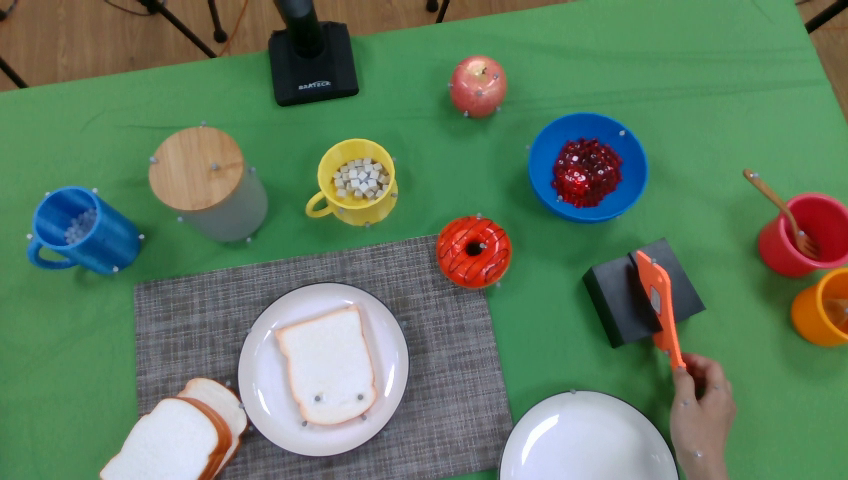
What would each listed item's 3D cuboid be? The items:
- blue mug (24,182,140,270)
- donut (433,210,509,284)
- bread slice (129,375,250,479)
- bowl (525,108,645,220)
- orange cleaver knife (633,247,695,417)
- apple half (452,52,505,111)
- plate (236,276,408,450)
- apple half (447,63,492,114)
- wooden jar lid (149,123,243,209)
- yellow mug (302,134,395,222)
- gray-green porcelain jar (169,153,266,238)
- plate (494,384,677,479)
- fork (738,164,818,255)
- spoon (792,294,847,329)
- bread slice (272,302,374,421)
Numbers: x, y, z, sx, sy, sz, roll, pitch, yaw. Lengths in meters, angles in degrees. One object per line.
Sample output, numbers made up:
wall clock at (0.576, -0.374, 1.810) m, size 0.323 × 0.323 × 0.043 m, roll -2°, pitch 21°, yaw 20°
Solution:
blue mug at (-0.436, -0.006, 0.761) m, size 0.116 × 0.106 × 0.082 m, roll -35°, pitch 75°, yaw -10°
donut at (0.060, 0.009, 0.782) m, size 0.099 × 0.048 × 0.098 m, roll 0°, pitch 73°, yaw 0°
bread slice at (-0.267, 0.231, 0.719) m, size 0.104 × 0.019 × 0.131 m, roll 28°, pitch 76°, yaw 9°
bowl at (0.204, -0.088, 0.797) m, size 0.151 × 0.077 × 0.150 m, roll 0°, pitch 73°, yaw 1°
orange cleaver knife at (0.288, 0.111, 0.732) m, size 0.012 × 0.077 × 0.212 m, roll -18°, pitch 103°, yaw -5°
apple half at (0.082, -0.225, 0.844) m, size 0.053 × 0.075 × 0.080 m, roll -40°, pitch 72°, yaw -17°
plate at (-0.123, 0.148, 0.742) m, size 0.208 × 0.039 × 0.206 m, roll 0°, pitch 73°, yaw 1°
apple half at (0.055, -0.199, 0.834) m, size 0.033 × 0.082 × 0.081 m, roll -41°, pitch 76°, yaw -16°
wooden jar lid at (-0.265, -0.085, 0.709) m, size 0.108 × 0.021 × 0.107 m, roll 0°, pitch 71°, yaw 1°
yellow mug at (-0.103, -0.073, 0.801) m, size 0.131 × 0.064 × 0.099 m, roll -32°, pitch 75°, yaw -9°
gray-green porcelain jar at (-0.264, -0.065, 0.768) m, size 0.106 × 0.127 × 0.105 m, roll 0°, pitch 72°, yaw 1°
plate at (0.184, 0.275, 0.704) m, size 0.209 × 0.038 × 0.208 m, roll 0°, pitch 72°, yaw 1°
fork at (0.438, -0.036, 0.742) m, size 0.209 × 0.018 × 0.028 m, roll 33°, pitch 69°, yaw -33°
spoon at (0.537, 0.060, 0.712) m, size 0.022 × 0.193 × 0.041 m, roll 3°, pitch 63°, yaw -46°
bread slice at (-0.116, 0.151, 0.743) m, size 0.107 × 0.018 × 0.133 m, roll -20°, pitch 73°, yaw -5°
